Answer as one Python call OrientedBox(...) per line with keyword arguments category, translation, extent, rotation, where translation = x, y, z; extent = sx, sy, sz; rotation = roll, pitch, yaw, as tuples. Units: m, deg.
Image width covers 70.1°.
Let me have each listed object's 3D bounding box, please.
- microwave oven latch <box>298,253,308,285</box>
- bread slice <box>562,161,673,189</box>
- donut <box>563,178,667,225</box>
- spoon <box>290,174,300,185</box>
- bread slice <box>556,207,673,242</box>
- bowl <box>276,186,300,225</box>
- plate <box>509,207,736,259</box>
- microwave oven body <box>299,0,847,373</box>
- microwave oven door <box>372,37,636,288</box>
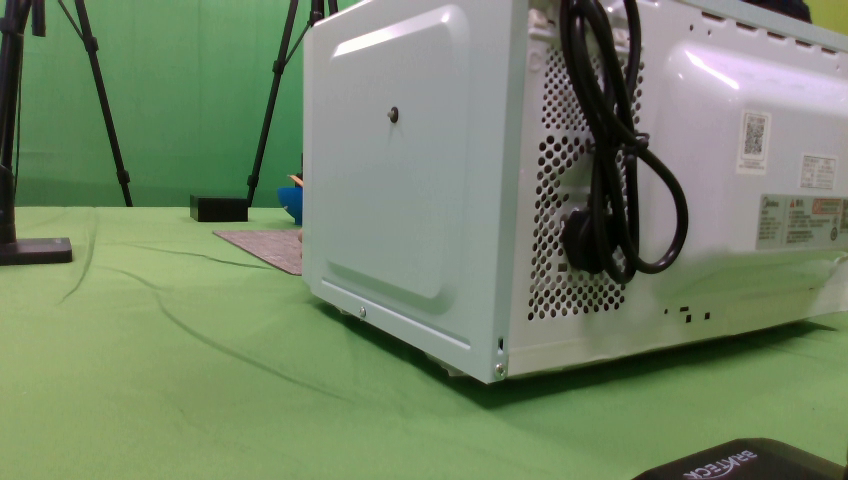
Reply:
OrientedBox(category="microwave oven latch", translation=(-0.081, 0.027, 0.583), extent=(0.079, 0.029, 0.030), rotation=(-2, 8, -33))
OrientedBox(category="bread slice", translation=(0.185, -0.062, 0.579), extent=(0.104, 0.019, 0.132), rotation=(6, 5, 15))
OrientedBox(category="donut", translation=(0.185, -0.037, 0.587), extent=(0.099, 0.048, 0.099), rotation=(-2, 4, 0))
OrientedBox(category="spoon", translation=(-0.260, -0.110, 1.342), extent=(0.042, 0.021, 0.192), rotation=(-10, 34, -29))
OrientedBox(category="bread slice", translation=(0.184, -0.016, 0.580), extent=(0.107, 0.018, 0.134), rotation=(-5, 6, 10))
OrientedBox(category="bowl", translation=(-0.241, -0.073, 1.302), extent=(0.151, 0.077, 0.151), rotation=(2, 7, 0))
OrientedBox(category="plate", translation=(0.187, -0.008, 0.588), extent=(0.208, 0.039, 0.207), rotation=(1, 5, 0))
OrientedBox(category="microwave oven body", translation=(0.152, -0.055, 0.542), extent=(0.444, 0.260, 0.324), rotation=(-2, 7, -32))
OrientedBox(category="microwave oven door", translation=(0.110, -0.080, 0.686), extent=(0.358, 0.243, 0.039), rotation=(-2, 9, -33))
